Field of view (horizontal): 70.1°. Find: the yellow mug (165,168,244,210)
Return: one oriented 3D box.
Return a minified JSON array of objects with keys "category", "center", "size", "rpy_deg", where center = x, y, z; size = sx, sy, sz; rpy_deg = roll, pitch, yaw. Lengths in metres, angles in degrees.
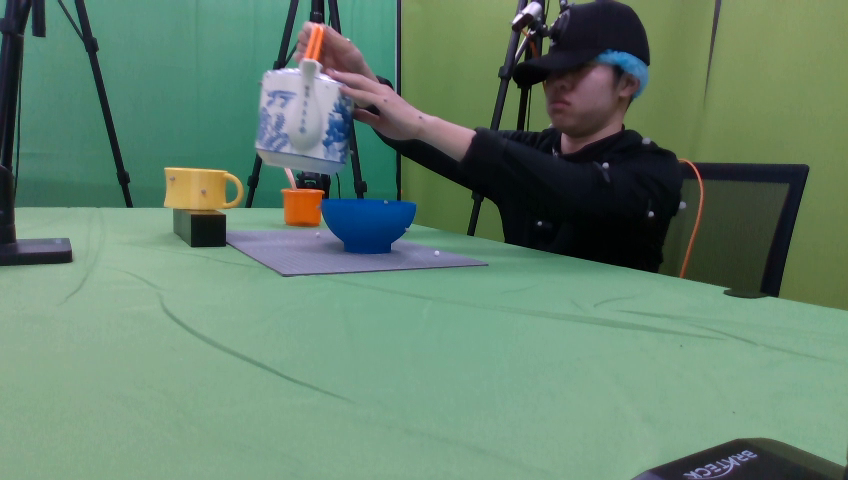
[{"category":"yellow mug","center":[-0.370,-0.086,1.027],"size":[0.131,0.064,0.100],"rpy_deg":[5,7,4]}]

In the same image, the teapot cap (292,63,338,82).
[{"category":"teapot cap","center":[-0.176,-0.260,0.971],"size":[0.085,0.044,0.085],"rpy_deg":[10,8,-1]}]

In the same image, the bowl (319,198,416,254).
[{"category":"bowl","center":[-0.089,-0.022,0.941],"size":[0.151,0.077,0.151],"rpy_deg":[2,7,0]}]

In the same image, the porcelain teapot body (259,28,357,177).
[{"category":"porcelain teapot body","center":[-0.176,-0.217,0.948],"size":[0.146,0.225,0.205],"rpy_deg":[7,6,-13]}]

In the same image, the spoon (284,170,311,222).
[{"category":"spoon","center":[-0.285,-0.111,1.320],"size":[0.042,0.193,0.021],"rpy_deg":[-3,-35,-31]}]
